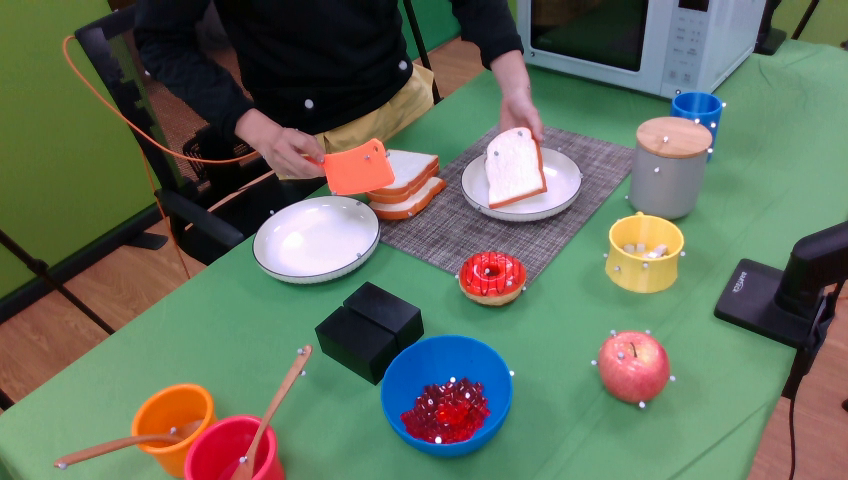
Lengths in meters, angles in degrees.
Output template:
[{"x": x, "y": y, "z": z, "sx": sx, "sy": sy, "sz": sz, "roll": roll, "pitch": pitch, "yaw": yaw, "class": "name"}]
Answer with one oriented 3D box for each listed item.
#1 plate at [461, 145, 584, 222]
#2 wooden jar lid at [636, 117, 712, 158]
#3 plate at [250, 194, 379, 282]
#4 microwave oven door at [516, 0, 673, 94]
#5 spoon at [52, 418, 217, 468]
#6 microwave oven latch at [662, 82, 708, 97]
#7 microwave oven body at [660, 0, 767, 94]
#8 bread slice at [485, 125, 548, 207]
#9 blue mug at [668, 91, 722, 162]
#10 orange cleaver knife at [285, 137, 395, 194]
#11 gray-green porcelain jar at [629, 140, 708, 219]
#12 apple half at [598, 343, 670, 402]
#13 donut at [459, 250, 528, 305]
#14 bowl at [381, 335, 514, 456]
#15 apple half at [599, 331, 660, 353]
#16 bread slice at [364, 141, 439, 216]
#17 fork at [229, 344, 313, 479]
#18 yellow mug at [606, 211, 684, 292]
[{"x": 0.168, "y": -0.095, "z": 1.040, "sx": 0.207, "sy": 0.039, "sz": 0.206, "roll": -4, "pitch": 41, "yaw": 4, "class": "plate"}, {"x": 0.377, "y": -0.151, "z": 0.917, "sx": 0.108, "sy": 0.021, "sz": 0.108, "roll": -2, "pitch": 42, "yaw": 2, "class": "wooden jar lid"}, {"x": -0.174, "y": -0.001, "z": 0.984, "sx": 0.209, "sy": 0.038, "sz": 0.208, "roll": -3, "pitch": 40, "yaw": 3, "class": "plate"}, {"x": 0.344, "y": -0.458, "z": 1.257, "sx": 0.353, "sy": 0.245, "sz": 0.039, "roll": 26, "pitch": 52, "yaw": 33, "class": "microwave oven door"}, {"x": -0.308, "y": 0.220, "z": 0.663, "sx": 0.041, "sy": 0.195, "sz": 0.021, "roll": 21, "pitch": 93, "yaw": 29, "class": "spoon"}, {"x": 0.518, "y": -0.298, "z": 1.203, "sx": 0.078, "sy": 0.029, "sz": 0.030, "roll": 28, "pitch": 53, "yaw": 35, "class": "microwave oven latch"}, {"x": 0.473, "y": -0.516, "z": 1.313, "sx": 0.438, "sy": 0.261, "sz": 0.327, "roll": 26, "pitch": 51, "yaw": 34, "class": "microwave oven body"}, {"x": 0.148, "y": -0.127, "z": 1.011, "sx": 0.104, "sy": 0.019, "sz": 0.131, "roll": -18, "pitch": 66, "yaw": 31, "class": "bread slice"}, {"x": 0.475, "y": -0.207, "z": 1.078, "sx": 0.082, "sy": 0.106, "sz": 0.116, "roll": 4, "pitch": 42, "yaw": 13, "class": "blue mug"}, {"x": -0.129, "y": -0.107, "z": 0.896, "sx": 0.210, "sy": 0.077, "sz": 0.012, "roll": 0, "pitch": 16, "yaw": 36, "class": "orange cleaver knife"}, {"x": 0.383, "y": -0.105, "z": 0.958, "sx": 0.106, "sy": 0.127, "sz": 0.105, "roll": -4, "pitch": 41, "yaw": 4, "class": "gray-green porcelain jar"}, {"x": 0.247, "y": 0.161, "z": 0.710, "sx": 0.081, "sy": 0.075, "sz": 0.053, "roll": 2, "pitch": 47, "yaw": 5, "class": "apple half"}, {"x": 0.100, "y": 0.053, "z": 0.872, "sx": 0.099, "sy": 0.048, "sz": 0.098, "roll": -5, "pitch": 40, "yaw": 4, "class": "donut"}, {"x": 0.029, "y": 0.192, "z": 0.701, "sx": 0.151, "sy": 0.077, "sz": 0.150, "roll": -4, "pitch": 40, "yaw": 4, "class": "bowl"}, {"x": 0.249, "y": 0.134, "z": 0.738, "sx": 0.081, "sy": 0.081, "sz": 0.032, "roll": -1, "pitch": 46, "yaw": 7, "class": "apple half"}, {"x": -0.048, "y": -0.106, "z": 1.038, "sx": 0.106, "sy": 0.018, "sz": 0.134, "roll": 18, "pitch": 74, "yaw": 22, "class": "bread slice"}, {"x": -0.173, "y": 0.205, "z": 0.662, "sx": 0.028, "sy": 0.019, "sz": 0.207, "roll": 29, "pitch": 94, "yaw": 36, "class": "fork"}, {"x": 0.318, "y": 0.008, "z": 0.883, "sx": 0.100, "sy": 0.064, "sz": 0.130, "roll": 0, "pitch": 40, "yaw": 9, "class": "yellow mug"}]
